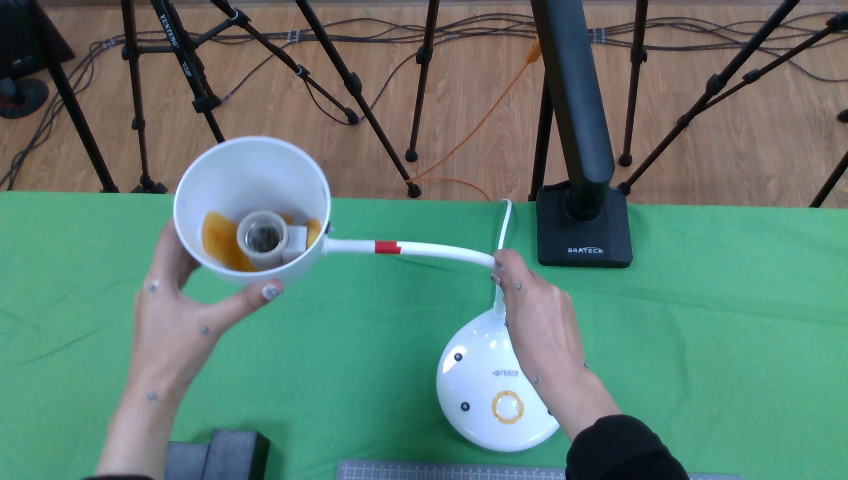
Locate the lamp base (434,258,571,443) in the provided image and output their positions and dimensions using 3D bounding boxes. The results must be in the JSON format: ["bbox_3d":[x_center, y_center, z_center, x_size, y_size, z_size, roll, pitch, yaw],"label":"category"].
[{"bbox_3d":[0.085,0.110,0.656,0.161,0.182,0.177,-9,58,-1],"label":"lamp base"}]

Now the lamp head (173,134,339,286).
[{"bbox_3d":[-0.129,-0.011,0.498,0.112,0.123,0.111,0,70,-1],"label":"lamp head"}]
